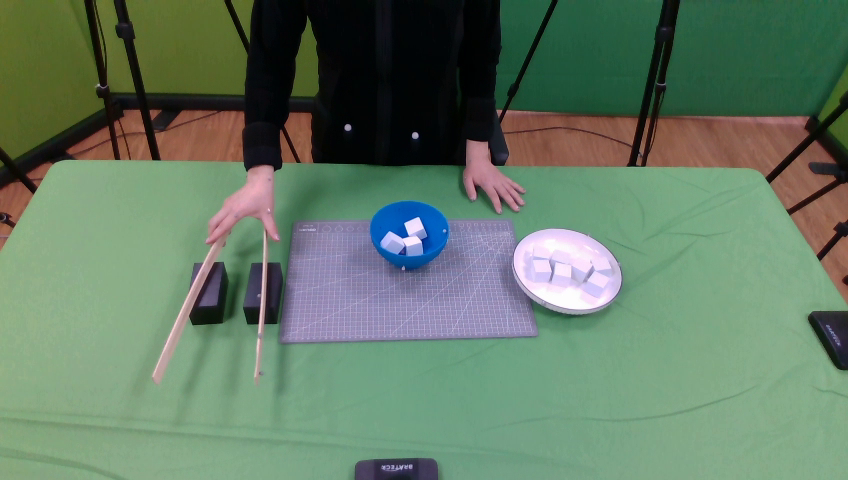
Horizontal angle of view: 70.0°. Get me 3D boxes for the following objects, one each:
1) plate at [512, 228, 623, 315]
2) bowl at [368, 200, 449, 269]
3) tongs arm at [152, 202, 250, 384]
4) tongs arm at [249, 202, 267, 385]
[{"bbox_3d":[0.268,0.063,1.146,0.208,0.039,0.206,3,46,-3],"label":"plate"},{"bbox_3d":[-0.031,0.002,1.150,0.151,0.077,0.150,2,46,-2],"label":"bowl"},{"bbox_3d":[-0.371,0.072,1.028,0.028,0.028,0.385,4,46,6],"label":"tongs arm"},{"bbox_3d":[-0.293,0.074,1.032,0.051,0.026,0.382,-3,47,-5],"label":"tongs arm"}]
